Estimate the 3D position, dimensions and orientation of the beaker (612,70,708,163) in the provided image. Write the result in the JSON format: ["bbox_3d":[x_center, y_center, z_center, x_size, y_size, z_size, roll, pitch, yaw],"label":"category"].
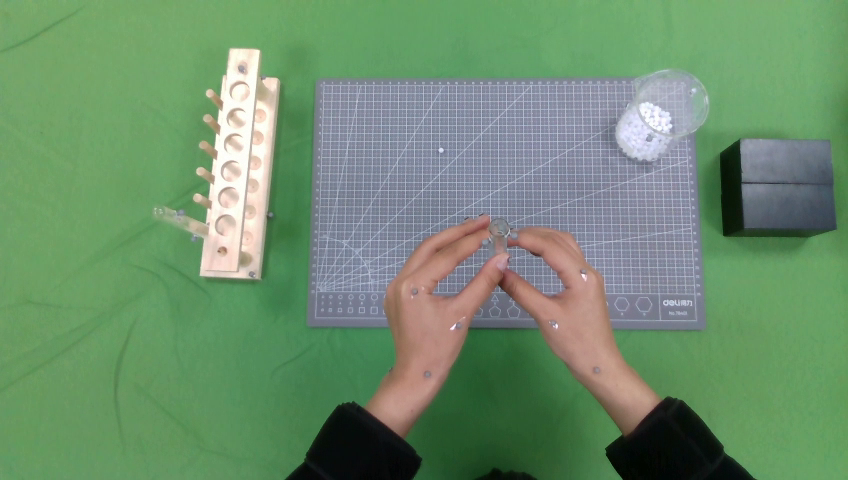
[{"bbox_3d":[0.252,-0.133,0.669,0.084,0.100,0.074,38,83,8],"label":"beaker"}]

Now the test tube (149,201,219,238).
[{"bbox_3d":[-0.243,-0.018,0.623,0.017,0.151,0.017,0,82,1],"label":"test tube"}]

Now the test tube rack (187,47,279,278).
[{"bbox_3d":[-0.217,-0.083,0.678,0.067,0.085,0.241,3,81,2],"label":"test tube rack"}]

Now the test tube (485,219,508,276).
[{"bbox_3d":[0.060,0.010,0.514,0.017,0.151,0.017,-1,75,5],"label":"test tube"}]
